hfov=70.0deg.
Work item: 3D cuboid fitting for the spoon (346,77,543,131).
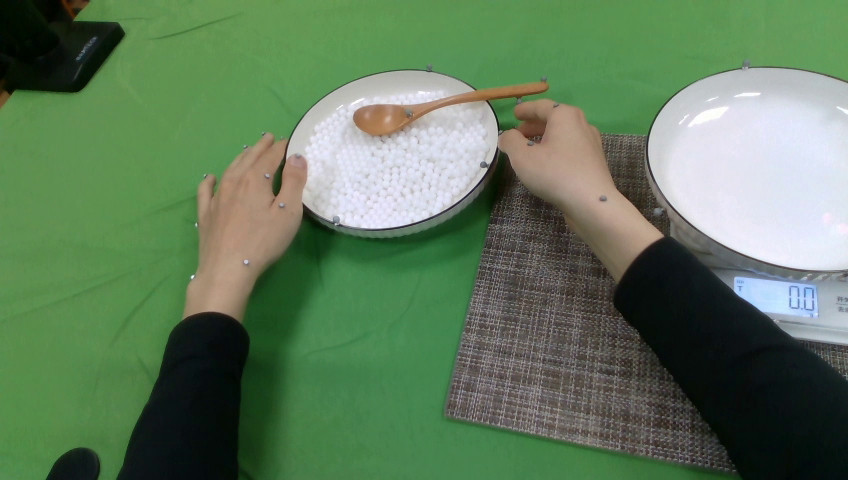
[{"bbox_3d":[0.018,-0.136,0.591,0.193,0.022,0.041,-10,54,11],"label":"spoon"}]

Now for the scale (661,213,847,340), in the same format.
[{"bbox_3d":[0.273,-0.021,0.490,0.148,0.032,0.199,7,58,14],"label":"scale"}]

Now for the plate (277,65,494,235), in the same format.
[{"bbox_3d":[-0.036,-0.086,0.585,0.209,0.038,0.207,-4,56,6],"label":"plate"}]

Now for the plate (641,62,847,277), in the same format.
[{"bbox_3d":[0.276,-0.056,0.473,0.207,0.039,0.205,-4,56,6],"label":"plate"}]
